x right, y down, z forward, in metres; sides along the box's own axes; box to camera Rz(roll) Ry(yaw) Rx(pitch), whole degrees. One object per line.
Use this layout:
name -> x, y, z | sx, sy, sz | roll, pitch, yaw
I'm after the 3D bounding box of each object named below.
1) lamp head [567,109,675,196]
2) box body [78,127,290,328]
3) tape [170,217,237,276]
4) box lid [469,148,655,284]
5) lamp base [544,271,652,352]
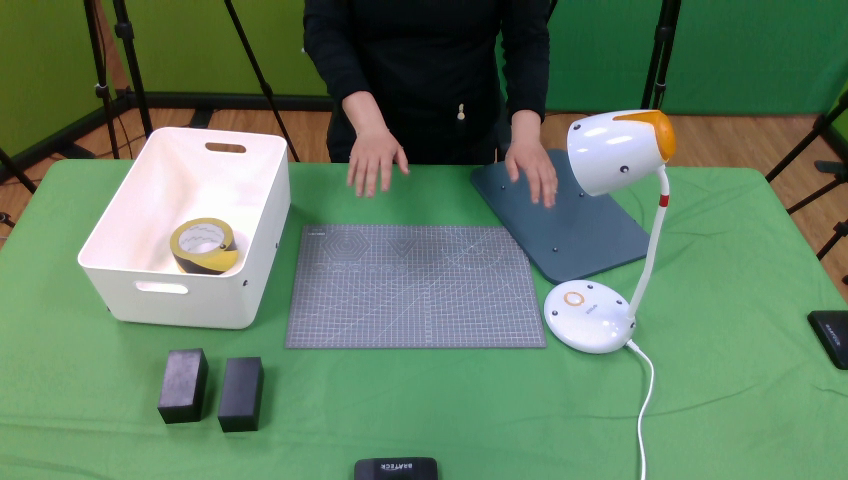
lamp head -> 0.272, -0.123, 0.818 | 0.122, 0.113, 0.112 | -9, 35, 37
box body -> -0.400, -0.026, 1.095 | 0.254, 0.161, 0.362 | 4, 46, 0
tape -> -0.407, 0.014, 1.123 | 0.117, 0.053, 0.116 | 2, 46, -2
box lid -> 0.285, -0.064, 1.289 | 0.263, 0.015, 0.369 | -16, 49, -19
lamp base -> 0.309, 0.086, 1.029 | 0.178, 0.181, 0.160 | 32, 52, 21
